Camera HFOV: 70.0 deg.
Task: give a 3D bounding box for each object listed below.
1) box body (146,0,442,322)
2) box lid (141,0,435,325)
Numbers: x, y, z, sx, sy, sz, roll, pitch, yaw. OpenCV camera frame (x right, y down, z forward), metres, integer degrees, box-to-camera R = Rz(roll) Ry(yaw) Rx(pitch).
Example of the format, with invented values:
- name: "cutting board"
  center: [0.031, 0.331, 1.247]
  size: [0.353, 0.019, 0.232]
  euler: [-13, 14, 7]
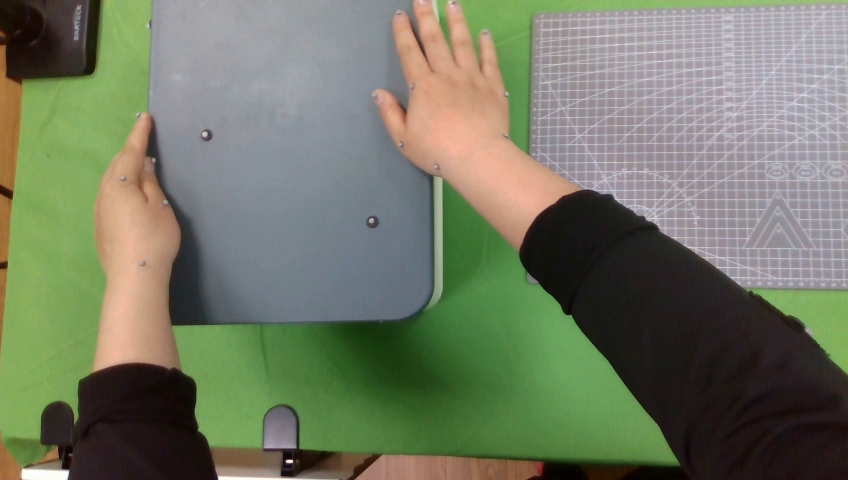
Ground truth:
- name: "box body"
  center: [-0.114, -0.101, 0.611]
  size: [0.254, 0.161, 0.363]
  euler: [-3, 83, 8]
- name: "box lid"
  center: [-0.124, -0.113, 0.539]
  size: [0.263, 0.015, 0.370]
  euler: [-3, 84, 8]
